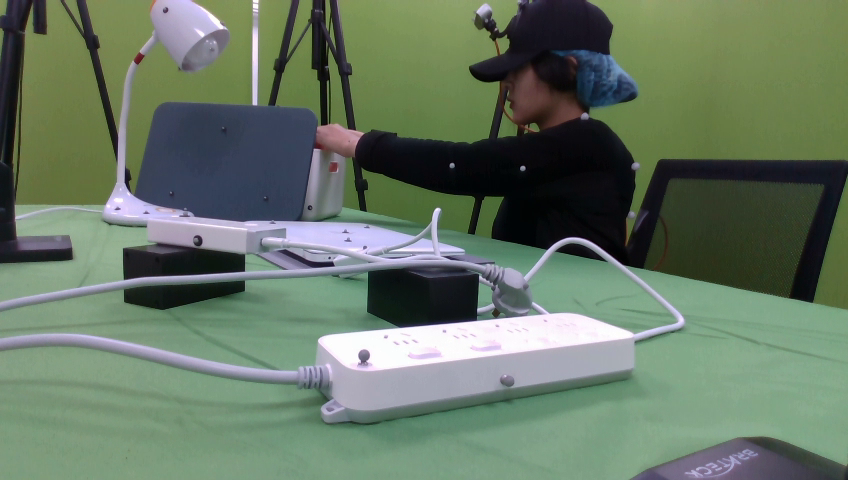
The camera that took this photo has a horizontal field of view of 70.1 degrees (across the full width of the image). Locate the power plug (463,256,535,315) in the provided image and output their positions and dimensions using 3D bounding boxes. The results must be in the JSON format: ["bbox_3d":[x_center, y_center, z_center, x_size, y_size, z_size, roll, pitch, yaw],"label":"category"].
[{"bbox_3d":[0.064,0.039,0.530,0.072,0.052,0.035,31,43,7],"label":"power plug"}]

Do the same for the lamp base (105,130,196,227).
[{"bbox_3d":[-0.532,-0.120,1.153,0.179,0.180,0.161,1,7,8],"label":"lamp base"}]

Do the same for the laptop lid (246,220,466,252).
[{"bbox_3d":[-0.123,-0.009,0.945,0.243,0.013,0.355,1,7,-29],"label":"laptop lid"}]

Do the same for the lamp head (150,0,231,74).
[{"bbox_3d":[-0.432,-0.375,1.086,0.123,0.112,0.112,42,8,-2],"label":"lamp head"}]

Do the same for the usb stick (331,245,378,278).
[{"bbox_3d":[-0.085,0.026,0.702,0.059,0.027,0.021,-18,19,27],"label":"usb stick"}]

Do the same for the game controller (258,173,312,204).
[{"bbox_3d":[-0.318,-0.126,1.392,0.097,0.051,0.155,13,13,1],"label":"game controller"}]

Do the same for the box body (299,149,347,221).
[{"bbox_3d":[-0.384,-0.137,1.407,0.364,0.160,0.254,3,8,8],"label":"box body"}]

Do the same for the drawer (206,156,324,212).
[{"bbox_3d":[-0.357,-0.131,1.393,0.211,0.073,0.194,-16,7,7],"label":"drawer"}]

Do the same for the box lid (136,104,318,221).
[{"bbox_3d":[-0.411,-0.162,1.266,0.371,0.263,0.015,3,-15,9],"label":"box lid"}]

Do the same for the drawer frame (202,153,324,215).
[{"bbox_3d":[-0.361,-0.131,1.389,0.213,0.083,0.201,-17,7,5],"label":"drawer frame"}]

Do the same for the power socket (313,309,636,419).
[{"bbox_3d":[0.039,0.072,0.385,0.228,0.032,0.072,-2,7,-28],"label":"power socket"}]

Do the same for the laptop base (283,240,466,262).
[{"bbox_3d":[-0.125,0.003,0.946,0.237,0.023,0.352,2,6,-31],"label":"laptop base"}]

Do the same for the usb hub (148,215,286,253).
[{"bbox_3d":[-0.197,-0.006,0.575,0.125,0.025,0.050,6,6,22],"label":"usb hub"}]
